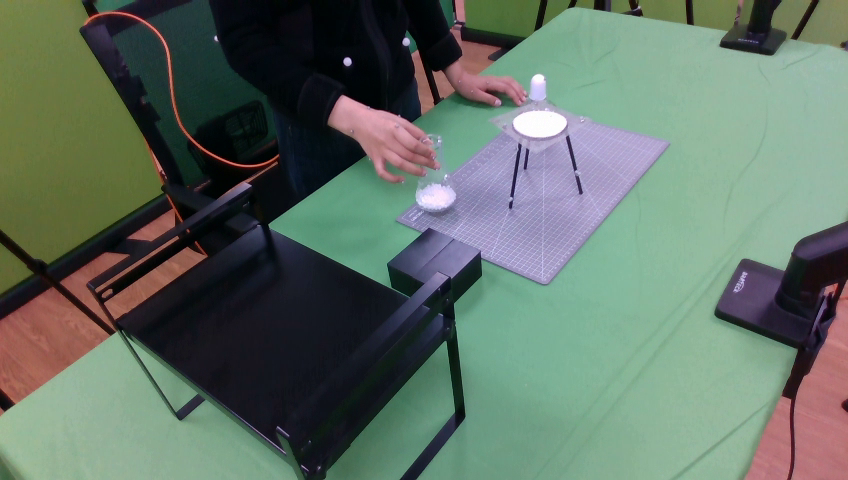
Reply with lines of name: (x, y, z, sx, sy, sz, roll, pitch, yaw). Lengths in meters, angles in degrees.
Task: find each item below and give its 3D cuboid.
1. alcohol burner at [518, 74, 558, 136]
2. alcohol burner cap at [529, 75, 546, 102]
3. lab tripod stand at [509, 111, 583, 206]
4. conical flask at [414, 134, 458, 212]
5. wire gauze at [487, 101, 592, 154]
alcohol burner: (0.222, -0.265, 1.179, 0.078, 0.119, 0.077, -5, 39, 5)
alcohol burner cap: (0.218, -0.292, 1.156, 0.034, 0.048, 0.033, -3, 46, 4)
lab tripod stand: (0.197, -0.139, 1.019, 0.148, 0.132, 0.147, -3, 39, 3)
conical flask: (0.015, -0.113, 0.996, 0.075, 0.122, 0.075, -4, 41, 4)
wire gauze: (0.185, -0.187, 0.973, 0.122, 0.011, 0.124, -27, 44, -23)
